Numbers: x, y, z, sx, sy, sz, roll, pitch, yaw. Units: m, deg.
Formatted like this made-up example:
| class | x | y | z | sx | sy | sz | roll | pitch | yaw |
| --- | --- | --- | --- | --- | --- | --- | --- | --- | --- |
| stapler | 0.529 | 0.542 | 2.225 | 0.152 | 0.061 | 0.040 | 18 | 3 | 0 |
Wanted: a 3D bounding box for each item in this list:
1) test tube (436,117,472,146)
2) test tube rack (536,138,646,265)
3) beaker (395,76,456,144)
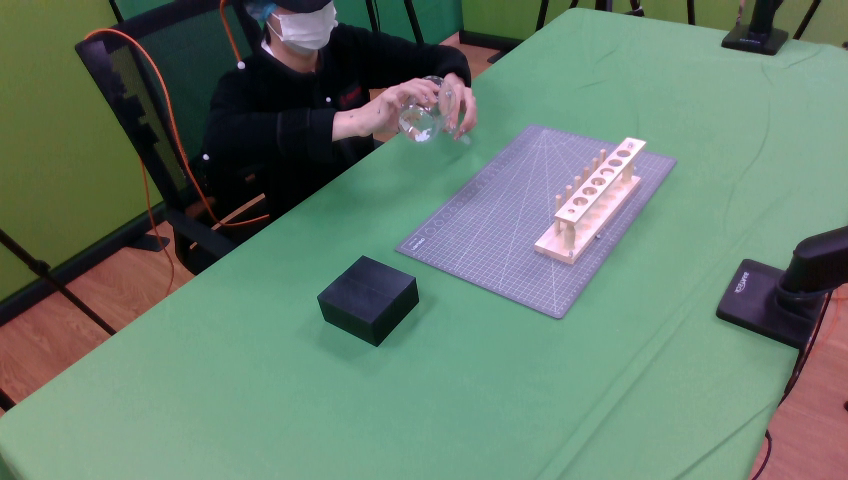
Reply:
| class | x | y | z | sx | sy | sz | roll | pitch | yaw |
| --- | --- | --- | --- | --- | --- | --- | --- | --- | --- |
| test tube | 0.057 | -0.194 | 1.093 | 0.017 | 0.151 | 0.017 | -3 | 83 | 24 |
| test tube rack | 0.268 | -0.071 | 0.964 | 0.066 | 0.085 | 0.243 | 23 | 49 | 32 |
| beaker | 0.002 | -0.204 | 0.971 | 0.073 | 0.084 | 0.100 | -1 | 37 | 26 |
